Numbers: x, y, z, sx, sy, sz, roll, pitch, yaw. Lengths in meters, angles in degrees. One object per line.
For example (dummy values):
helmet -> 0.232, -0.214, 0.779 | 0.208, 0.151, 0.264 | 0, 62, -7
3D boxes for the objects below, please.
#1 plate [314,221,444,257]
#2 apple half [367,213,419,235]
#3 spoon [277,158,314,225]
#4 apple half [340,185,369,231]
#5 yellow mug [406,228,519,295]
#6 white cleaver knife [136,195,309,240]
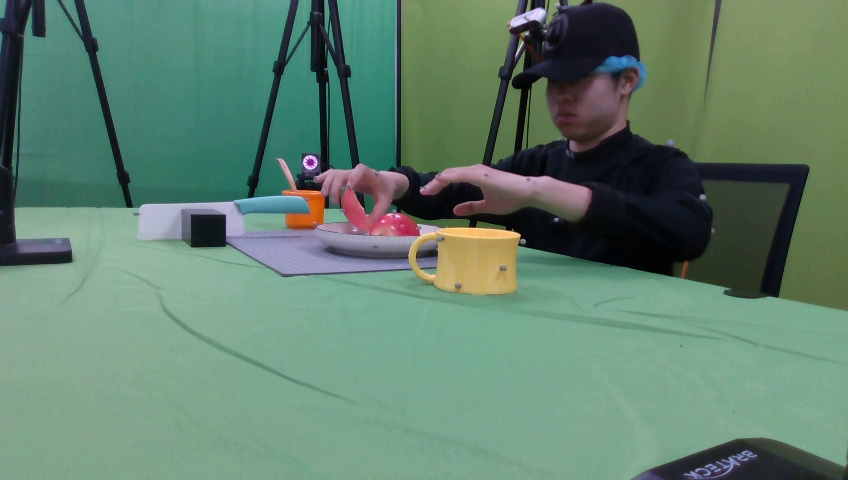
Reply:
plate -> -0.066, -0.002, 0.948 | 0.209, 0.038, 0.209 | 3, 7, 0
apple half -> -0.048, -0.016, 0.940 | 0.080, 0.053, 0.075 | 10, 10, 33
spoon -> -0.272, -0.103, 1.260 | 0.042, 0.193, 0.021 | -5, -34, -33
apple half -> -0.115, -0.045, 0.976 | 0.033, 0.081, 0.081 | -25, 10, -4
yellow mug -> 0.044, 0.022, 0.707 | 0.131, 0.064, 0.100 | 2, 7, 5
white cleaver knife -> -0.337, -0.039, 1.037 | 0.288, 0.066, 0.021 | -6, 15, -29
